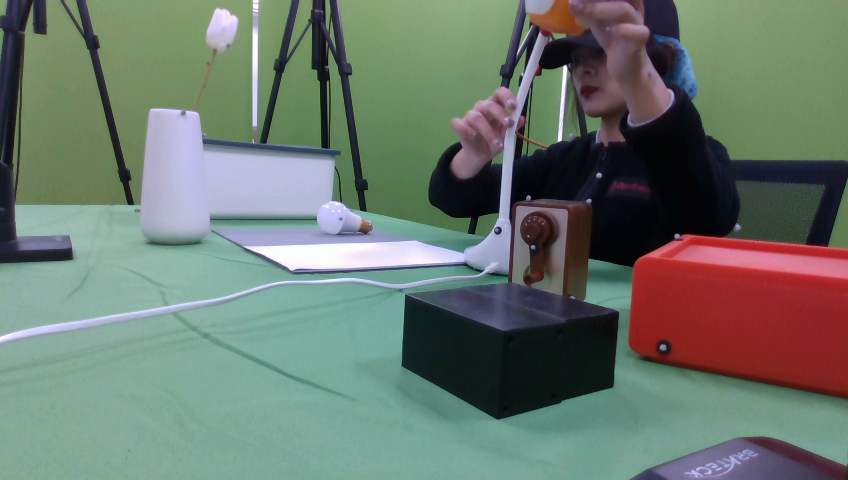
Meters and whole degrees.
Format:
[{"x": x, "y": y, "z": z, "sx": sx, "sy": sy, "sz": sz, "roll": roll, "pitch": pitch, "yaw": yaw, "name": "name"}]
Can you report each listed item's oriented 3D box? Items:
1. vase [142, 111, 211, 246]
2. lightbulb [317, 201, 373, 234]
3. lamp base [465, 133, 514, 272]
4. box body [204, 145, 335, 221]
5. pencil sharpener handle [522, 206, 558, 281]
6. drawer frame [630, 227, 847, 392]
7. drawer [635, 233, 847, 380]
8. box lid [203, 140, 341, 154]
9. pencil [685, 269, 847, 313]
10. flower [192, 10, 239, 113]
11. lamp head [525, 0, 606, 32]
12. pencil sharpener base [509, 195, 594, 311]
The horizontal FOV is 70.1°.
[{"x": -0.378, "y": -0.093, "z": 0.920, "sx": 0.098, "sy": 0.200, "sz": 0.098, "roll": 2, "pitch": 9, "yaw": 0, "name": "vase"}, {"x": -0.143, "y": -0.036, "z": 1.109, "sx": 0.108, "sy": 0.059, "sz": 0.059, "roll": 16, "pitch": 0, "yaw": -28, "name": "lightbulb"}, {"x": 0.134, "y": -0.052, "z": 0.808, "sx": 0.160, "sy": 0.180, "sz": 0.180, "roll": 6, "pitch": 12, "yaw": 26, "name": "lamp base"}, {"x": -0.411, "y": -0.135, "z": 1.386, "sx": 0.366, "sy": 0.160, "sz": 0.253, "roll": -2, "pitch": 9, "yaw": -29, "name": "box body"}, {"x": 0.102, "y": 0.003, "z": 0.555, "sx": 0.036, "sy": 0.067, "sz": 0.031, "roll": 0, "pitch": 6, "yaw": 31, "name": "pencil sharpener handle"}, {"x": 0.292, "y": 0.043, "z": 0.484, "sx": 0.201, "sy": 0.082, "sz": 0.214, "roll": 7, "pitch": 9, "yaw": 29, "name": "drawer frame"}, {"x": 0.292, "y": 0.045, "z": 0.488, "sx": 0.193, "sy": 0.073, "sz": 0.213, "roll": 7, "pitch": 9, "yaw": 30, "name": "drawer"}, {"x": -0.396, "y": -0.212, "z": 1.373, "sx": 0.373, "sy": 0.015, "sz": 0.262, "roll": -1, "pitch": 9, "yaw": -29, "name": "box lid"}, {"x": 0.308, "y": 0.045, "z": 0.516, "sx": 0.194, "sy": 0.012, "sz": 0.012, "roll": 13, "pitch": 5, "yaw": -11, "name": "pencil"}, {"x": -0.354, "y": -0.174, "z": 0.915, "sx": 0.038, "sy": 0.361, "sz": 0.044, "roll": 17, "pitch": -4, "yaw": 11, "name": "flower"}, {"x": 0.151, "y": -0.282, "z": 0.629, "sx": 0.112, "sy": 0.123, "sz": 0.112, "roll": 13, "pitch": 18, "yaw": -4, "name": "lamp head"}, {"x": 0.126, "y": 0.011, "z": 0.601, "sx": 0.061, "sy": 0.107, "sz": 0.077, "roll": 7, "pitch": 9, "yaw": 30, "name": "pencil sharpener base"}]
